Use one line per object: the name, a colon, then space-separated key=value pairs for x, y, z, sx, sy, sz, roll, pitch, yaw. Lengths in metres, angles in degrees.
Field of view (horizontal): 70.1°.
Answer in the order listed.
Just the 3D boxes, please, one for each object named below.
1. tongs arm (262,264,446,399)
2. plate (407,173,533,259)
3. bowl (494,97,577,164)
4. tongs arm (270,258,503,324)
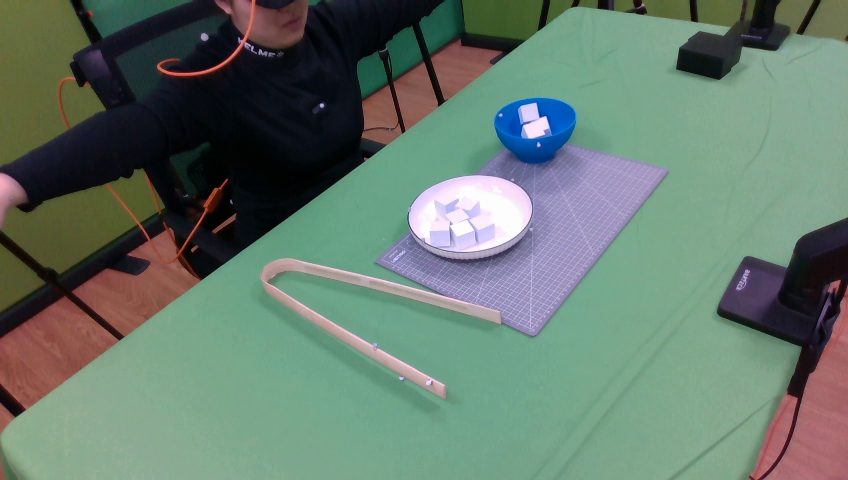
tongs arm: x=-0.110 y=0.118 z=0.854 sx=0.381 sy=0.026 sz=0.051 roll=21 pitch=48 yaw=33
plate: x=0.076 y=-0.037 z=0.997 sx=0.207 sy=0.039 sz=0.206 roll=-5 pitch=40 yaw=5
bowl: x=0.207 y=-0.196 z=1.128 sx=0.151 sy=0.077 sz=0.150 roll=-5 pitch=40 yaw=5
tongs arm: x=-0.066 y=0.074 z=0.904 sx=0.385 sy=0.028 sz=0.028 roll=11 pitch=47 yaw=23
